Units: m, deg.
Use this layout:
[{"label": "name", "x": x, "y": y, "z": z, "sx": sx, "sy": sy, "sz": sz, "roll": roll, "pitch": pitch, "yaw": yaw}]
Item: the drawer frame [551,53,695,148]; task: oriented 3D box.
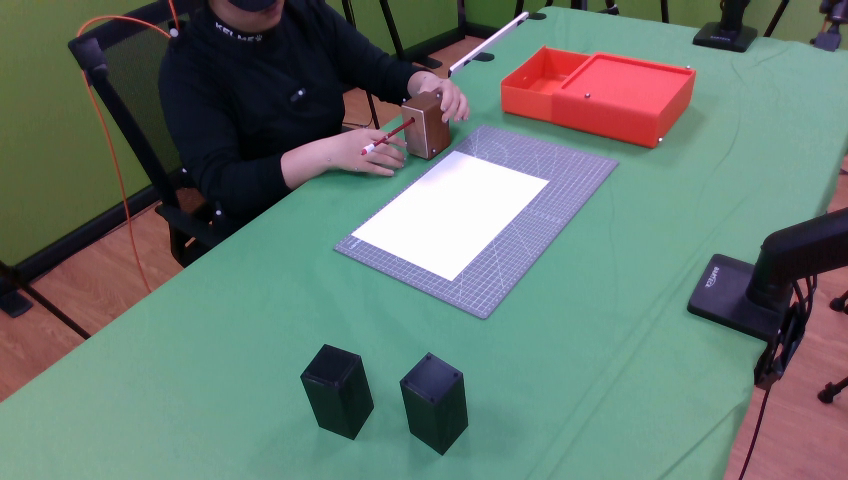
[{"label": "drawer frame", "x": 0.391, "y": -0.281, "z": 1.196, "sx": 0.212, "sy": 0.083, "sz": 0.202, "roll": 22, "pitch": 48, "yaw": 29}]

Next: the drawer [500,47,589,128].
[{"label": "drawer", "x": 0.295, "y": -0.316, "z": 1.255, "sx": 0.210, "sy": 0.073, "sz": 0.195, "roll": 22, "pitch": 47, "yaw": 29}]

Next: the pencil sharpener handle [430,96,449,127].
[{"label": "pencil sharpener handle", "x": 0.036, "y": -0.255, "z": 1.184, "sx": 0.035, "sy": 0.068, "sz": 0.031, "roll": 28, "pitch": 49, "yaw": 29}]

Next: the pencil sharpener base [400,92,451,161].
[{"label": "pencil sharpener base", "x": 0.006, "y": -0.219, "z": 1.161, "sx": 0.061, "sy": 0.107, "sz": 0.077, "roll": 22, "pitch": 46, "yaw": 34}]

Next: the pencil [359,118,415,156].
[{"label": "pencil", "x": -0.049, "y": -0.198, "z": 1.098, "sx": 0.012, "sy": 0.012, "sz": 0.194, "roll": 24, "pitch": 47, "yaw": 32}]
